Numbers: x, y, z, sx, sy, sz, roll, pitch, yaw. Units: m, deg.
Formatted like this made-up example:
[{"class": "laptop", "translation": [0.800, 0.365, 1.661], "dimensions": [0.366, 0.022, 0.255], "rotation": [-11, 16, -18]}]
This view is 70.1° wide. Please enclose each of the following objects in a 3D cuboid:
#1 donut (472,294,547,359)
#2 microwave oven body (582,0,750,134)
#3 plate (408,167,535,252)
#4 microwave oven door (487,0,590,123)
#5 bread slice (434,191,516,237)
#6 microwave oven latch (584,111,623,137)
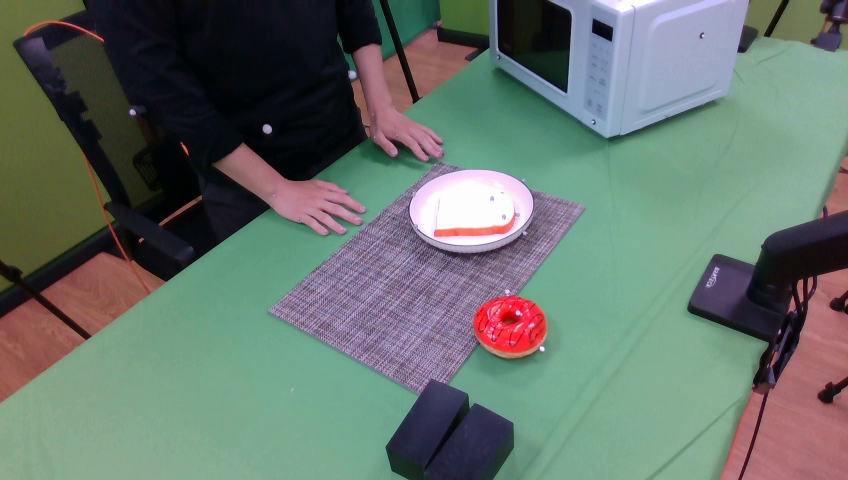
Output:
[{"class": "donut", "translation": [0.114, 0.114, 0.803], "dimensions": [0.099, 0.048, 0.098], "rotation": [0, 40, 1]}, {"class": "microwave oven body", "translation": [0.382, -0.444, 1.246], "dimensions": [0.327, 0.261, 0.437], "rotation": [-22, 42, -16]}, {"class": "plate", "translation": [0.078, -0.047, 0.996], "dimensions": [0.207, 0.039, 0.206], "rotation": [-4, 41, 4]}, {"class": "microwave oven door", "translation": [0.232, -0.420, 1.231], "dimensions": [0.039, 0.245, 0.352], "rotation": [-22, 43, -16]}, {"class": "bread slice", "translation": [0.086, -0.046, 0.996], "dimensions": [0.131, 0.019, 0.104], "rotation": [-1, 42, 7]}, {"class": "microwave oven latch", "translation": [0.337, -0.222, 1.142], "dimensions": [0.030, 0.029, 0.078], "rotation": [-21, 42, -14]}]
